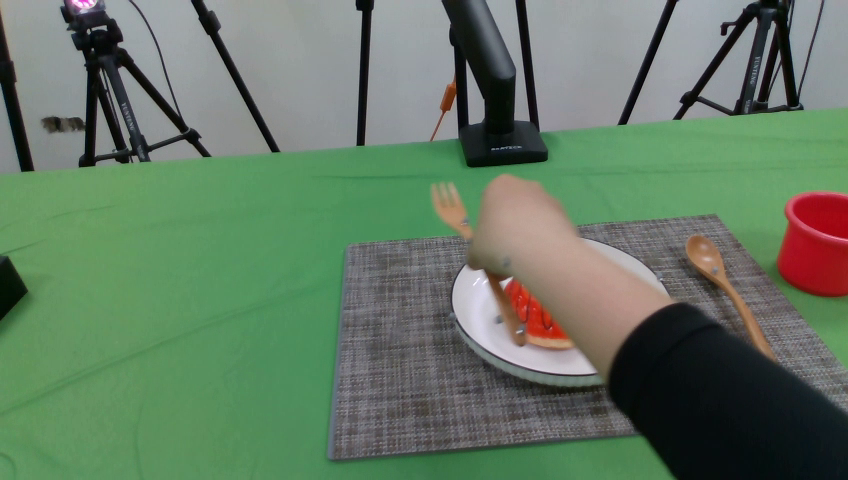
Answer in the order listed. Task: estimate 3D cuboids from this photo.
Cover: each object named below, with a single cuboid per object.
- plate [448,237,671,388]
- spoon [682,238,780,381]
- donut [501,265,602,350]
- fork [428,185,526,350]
[{"bbox_3d":[0.129,0.069,0.590,0.209,0.038,0.207,-2,34,2],"label":"plate"},{"bbox_3d":[0.302,0.061,0.599,0.042,0.022,0.192,11,34,-9],"label":"spoon"},{"bbox_3d":[0.119,0.063,0.579,0.099,0.049,0.098,-3,37,3],"label":"donut"},{"bbox_3d":[0.042,0.014,0.517,0.028,0.019,0.205,-2,37,-21],"label":"fork"}]
